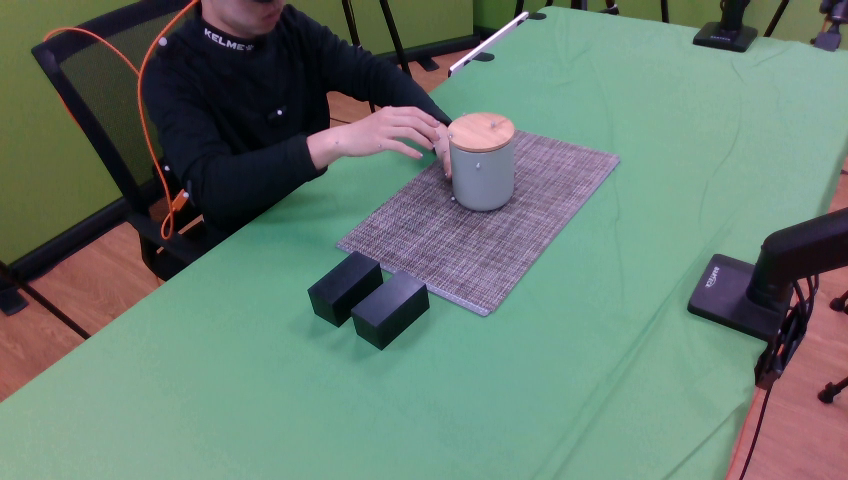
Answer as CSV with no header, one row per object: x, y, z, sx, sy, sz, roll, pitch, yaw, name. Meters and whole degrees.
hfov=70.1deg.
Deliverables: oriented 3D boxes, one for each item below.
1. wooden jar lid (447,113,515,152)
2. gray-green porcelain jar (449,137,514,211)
0.091,-0.169,0.968,0.108,0.021,0.108,-4,42,4,wooden jar lid
0.098,-0.120,1.009,0.106,0.127,0.105,-4,41,4,gray-green porcelain jar
